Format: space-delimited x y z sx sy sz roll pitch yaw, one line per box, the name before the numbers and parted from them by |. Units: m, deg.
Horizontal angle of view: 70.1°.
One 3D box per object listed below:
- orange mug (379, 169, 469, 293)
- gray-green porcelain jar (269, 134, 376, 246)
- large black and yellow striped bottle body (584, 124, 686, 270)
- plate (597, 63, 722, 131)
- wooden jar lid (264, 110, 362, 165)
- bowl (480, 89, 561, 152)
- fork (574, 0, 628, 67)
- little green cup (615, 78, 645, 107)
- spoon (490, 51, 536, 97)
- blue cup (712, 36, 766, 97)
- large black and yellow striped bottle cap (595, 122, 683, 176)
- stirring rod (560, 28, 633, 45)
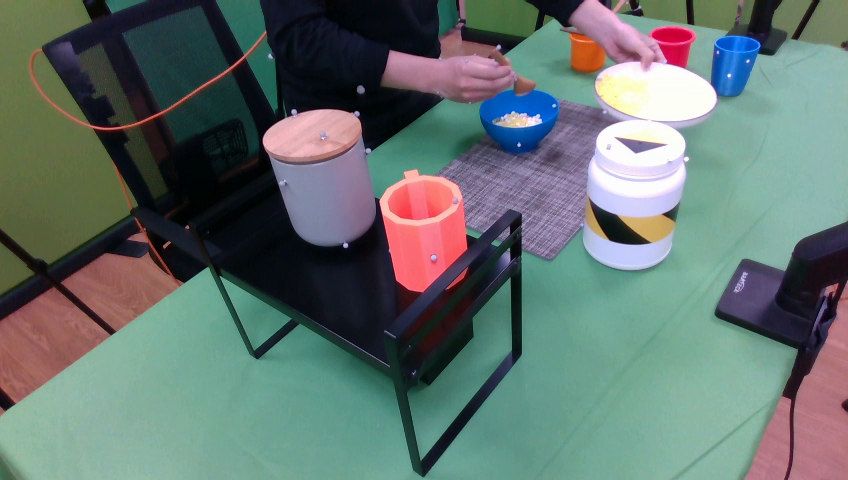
orange mug | -0.002 -0.019 0.665 0.083 0.101 0.125 -12 44 -4
gray-green porcelain jar | -0.115 -0.064 0.715 0.106 0.127 0.105 -4 40 4
large black and yellow striped bottle body | 0.304 -0.063 0.880 0.131 0.185 0.130 -5 41 5
plate | 0.409 -0.247 1.063 0.209 0.038 0.208 -1 43 1
wooden jar lid | -0.122 -0.112 0.673 0.108 0.021 0.108 -4 37 4
bowl | 0.185 -0.222 1.160 0.151 0.077 0.150 -4 40 4
fork | 0.413 -0.481 1.377 0.207 0.019 0.028 -56 43 12
little green cup | 0.426 -0.306 1.257 0.061 0.039 0.061 -4 40 4
spoon | 0.142 -0.270 0.988 0.041 0.195 0.021 -23 72 23
blue cup | 0.627 -0.350 1.227 0.092 0.100 0.092 -4 39 4
large black and yellow striped bottle cap | 0.293 -0.126 0.826 0.115 0.019 0.114 -3 40 3
stirring rod | 0.381 -0.453 1.344 0.174 0.006 0.014 26 49 33
